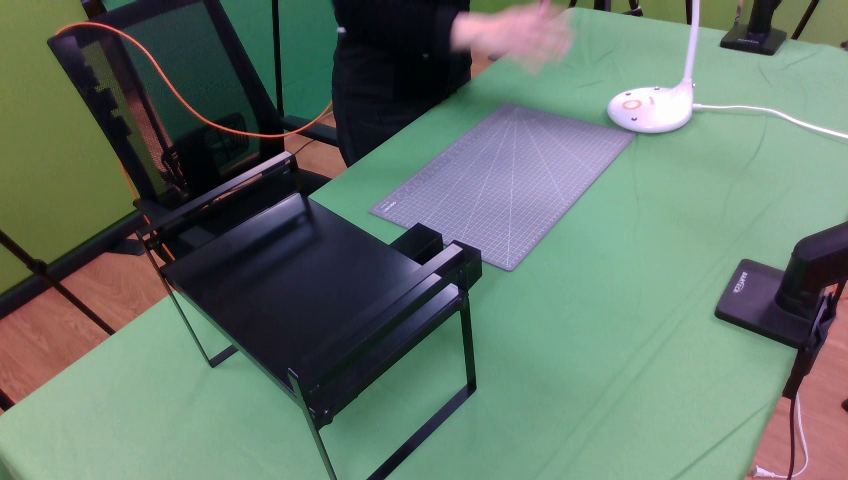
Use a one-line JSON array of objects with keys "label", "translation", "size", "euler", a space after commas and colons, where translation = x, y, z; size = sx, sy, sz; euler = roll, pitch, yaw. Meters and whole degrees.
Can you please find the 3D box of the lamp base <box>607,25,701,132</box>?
[{"label": "lamp base", "translation": [0.454, -0.321, 1.160], "size": [0.179, 0.181, 0.159], "euler": [-6, 41, -2]}]
